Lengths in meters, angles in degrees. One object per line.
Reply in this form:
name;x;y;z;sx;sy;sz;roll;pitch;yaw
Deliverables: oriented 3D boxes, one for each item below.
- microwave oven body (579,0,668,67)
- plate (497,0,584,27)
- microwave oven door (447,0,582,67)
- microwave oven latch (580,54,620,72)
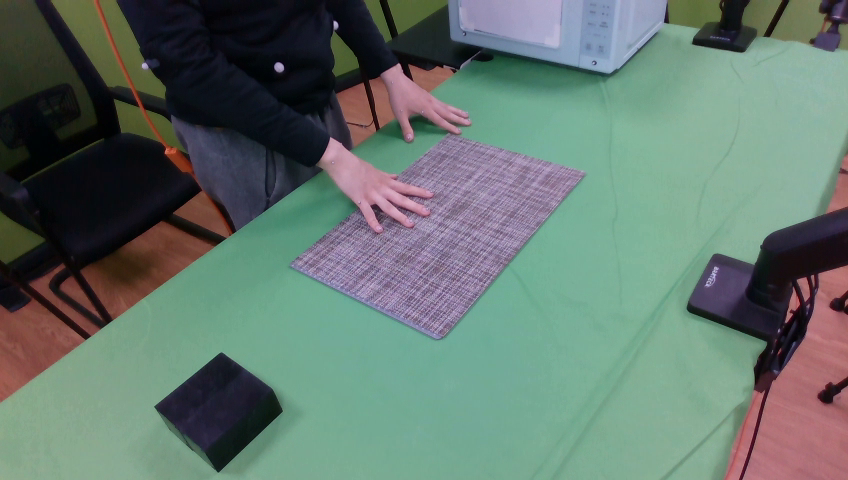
microwave oven body;0.325;-0.609;1.437;0.438;0.261;0.327;23;50;30
plate;0.286;-0.572;1.489;0.209;0.038;0.208;-5;41;5
microwave oven door;0.203;-0.544;1.372;0.353;0.245;0.039;23;49;29
microwave oven latch;0.386;-0.393;1.330;0.078;0.029;0.030;25;51;32
